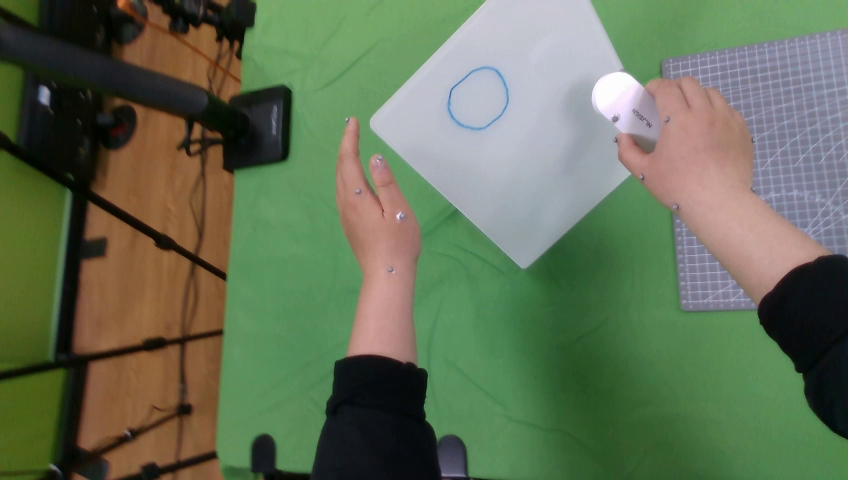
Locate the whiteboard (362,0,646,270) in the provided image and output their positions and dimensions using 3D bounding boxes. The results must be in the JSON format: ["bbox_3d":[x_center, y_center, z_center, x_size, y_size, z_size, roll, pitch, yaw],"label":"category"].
[{"bbox_3d":[0.081,-0.145,0.655,0.217,0.309,0.142,-43,45,9],"label":"whiteboard"}]

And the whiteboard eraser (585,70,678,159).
[{"bbox_3d":[0.189,-0.113,0.551,0.102,0.018,0.041,37,96,-15],"label":"whiteboard eraser"}]
